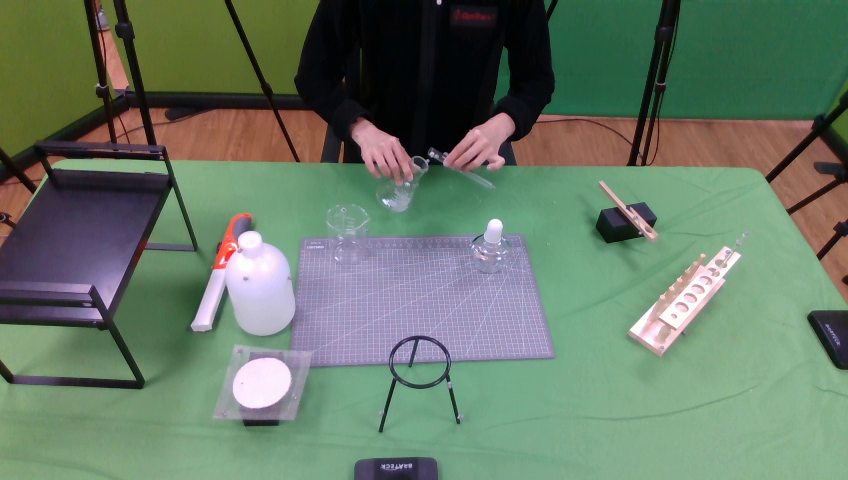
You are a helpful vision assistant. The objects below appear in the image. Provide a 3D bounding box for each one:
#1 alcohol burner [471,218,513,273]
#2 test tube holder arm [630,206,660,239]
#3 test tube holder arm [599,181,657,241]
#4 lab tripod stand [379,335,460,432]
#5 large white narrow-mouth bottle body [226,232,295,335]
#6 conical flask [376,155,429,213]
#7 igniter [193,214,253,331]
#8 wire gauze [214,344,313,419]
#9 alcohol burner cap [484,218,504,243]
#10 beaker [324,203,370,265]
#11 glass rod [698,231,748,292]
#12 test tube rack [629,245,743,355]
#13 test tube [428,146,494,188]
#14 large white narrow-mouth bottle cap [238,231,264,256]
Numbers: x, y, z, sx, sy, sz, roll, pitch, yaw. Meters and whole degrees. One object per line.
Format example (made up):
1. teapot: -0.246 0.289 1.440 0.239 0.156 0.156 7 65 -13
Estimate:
1. alcohol burner: 0.128 0.005 1.132 0.078 0.120 0.077 0 47 0
2. test tube holder arm: 0.431 -0.034 1.192 0.010 0.015 0.087 -23 51 -12
3. test tube holder arm: 0.407 -0.062 1.219 0.013 0.015 0.177 -23 51 -13
4. lab tripod stand: -0.010 0.214 0.911 0.148 0.132 0.147 1 45 0
5. large white narrow-mouth bottle body: -0.270 0.065 0.995 0.102 0.195 0.101 2 46 -2
6. conical flask: -0.036 -0.114 1.174 0.075 0.122 0.075 18 49 -23
7. igniter: -0.368 0.050 1.119 0.057 0.025 0.275 -3 46 8
8. wire gauze: -0.241 0.213 0.915 0.121 0.011 0.124 5 46 1
9. alcohol burner cap: 0.130 -0.021 1.106 0.034 0.048 0.033 3 51 -4
10. beaker: -0.142 -0.009 1.137 0.084 0.101 0.073 -3 47 -7
11. glass rod: 0.514 0.044 1.051 0.008 0.200 0.008 1 55 -1
12. test tube rack: 0.474 0.095 1.091 0.242 0.085 0.066 -34 56 -31
13. test tube: 0.071 -0.135 1.131 0.151 0.017 0.017 27 40 -26
14. large white narrow-mouth bottle cap: -0.266 0.006 0.932 0.038 0.024 0.037 2 46 -2
